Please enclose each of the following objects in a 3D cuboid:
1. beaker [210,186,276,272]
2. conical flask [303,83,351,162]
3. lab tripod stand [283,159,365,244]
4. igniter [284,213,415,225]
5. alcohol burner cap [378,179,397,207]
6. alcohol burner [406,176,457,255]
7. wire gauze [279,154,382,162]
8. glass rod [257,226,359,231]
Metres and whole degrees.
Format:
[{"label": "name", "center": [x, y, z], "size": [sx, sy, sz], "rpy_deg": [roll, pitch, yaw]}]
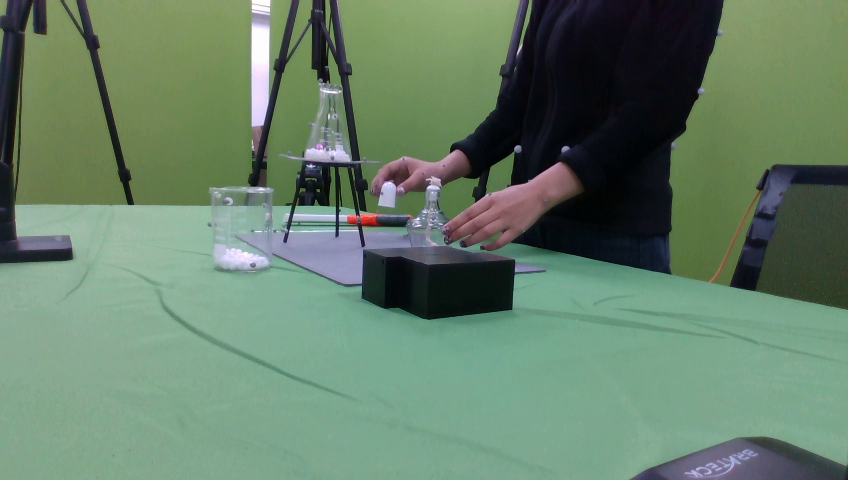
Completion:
[{"label": "beaker", "center": [-0.224, -0.014, 0.738], "size": [0.084, 0.100, 0.074], "rpy_deg": [4, 7, 16]}, {"label": "conical flask", "center": [-0.151, -0.186, 0.963], "size": [0.075, 0.122, 0.075], "rpy_deg": [4, 6, 0]}, {"label": "lab tripod stand", "center": [-0.151, -0.063, 0.983], "size": [0.148, 0.131, 0.148], "rpy_deg": [4, 7, 0]}, {"label": "igniter", "center": [-0.154, -0.045, 1.282], "size": [0.278, 0.025, 0.057], "rpy_deg": [0, -2, -20]}, {"label": "alcohol burner cap", "center": [-0.064, -0.085, 1.077], "size": [0.034, 0.048, 0.034], "rpy_deg": [9, 2, 0]}, {"label": "alcohol burner", "center": [0.012, -0.038, 0.919], "size": [0.078, 0.119, 0.078], "rpy_deg": [2, 5, 0]}, {"label": "wire gauze", "center": [-0.149, -0.128, 0.974], "size": [0.124, 0.011, 0.122], "rpy_deg": [6, 6, 41]}, {"label": "glass rod", "center": [-0.216, -0.022, 1.151], "size": [0.201, 0.008, 0.008], "rpy_deg": [-2, 8, -28]}]
